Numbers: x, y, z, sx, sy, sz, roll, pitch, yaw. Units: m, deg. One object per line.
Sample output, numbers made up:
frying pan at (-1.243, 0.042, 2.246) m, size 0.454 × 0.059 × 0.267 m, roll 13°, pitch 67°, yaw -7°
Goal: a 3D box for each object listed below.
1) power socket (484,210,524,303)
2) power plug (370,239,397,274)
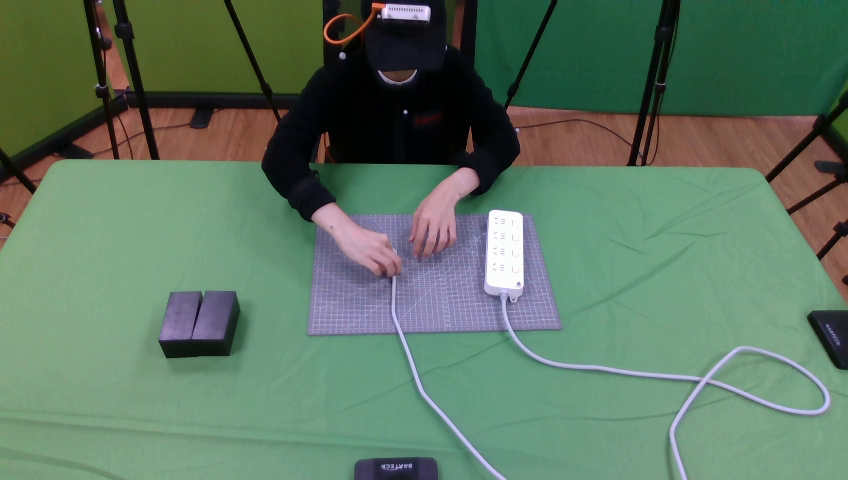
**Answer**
power socket at (0.157, 0.023, 1.175) m, size 0.072 × 0.033 × 0.225 m, roll 6°, pitch 46°, yaw 3°
power plug at (-0.075, 0.027, 1.147) m, size 0.053 × 0.035 × 0.072 m, roll 10°, pitch 31°, yaw -18°
